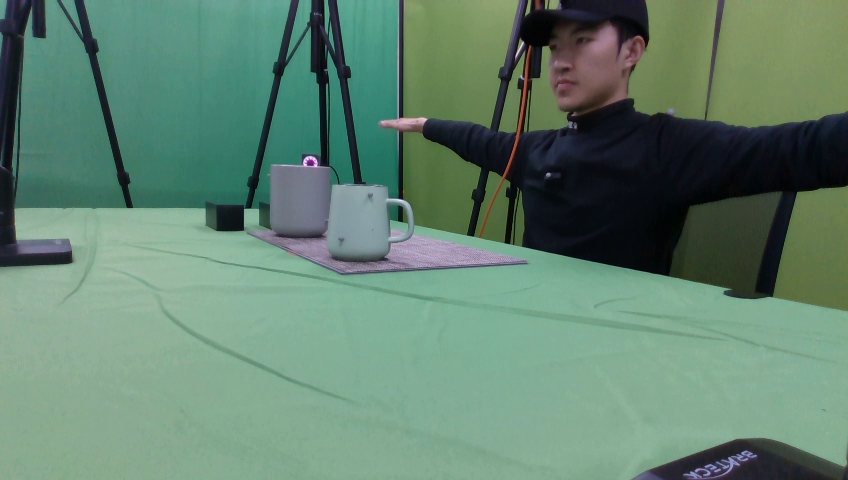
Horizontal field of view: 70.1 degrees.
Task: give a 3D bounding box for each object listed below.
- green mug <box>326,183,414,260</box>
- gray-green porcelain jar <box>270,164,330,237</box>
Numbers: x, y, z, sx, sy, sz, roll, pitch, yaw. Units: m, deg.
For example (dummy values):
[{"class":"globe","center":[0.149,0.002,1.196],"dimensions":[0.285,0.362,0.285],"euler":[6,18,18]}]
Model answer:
[{"class":"green mug","center":[-0.076,-0.027,0.858],"dimensions":[0.125,0.105,0.092],"euler":[3,7,8]},{"class":"gray-green porcelain jar","center":[-0.223,-0.072,1.090],"dimensions":[0.106,0.126,0.106],"euler":[2,8,0]}]
